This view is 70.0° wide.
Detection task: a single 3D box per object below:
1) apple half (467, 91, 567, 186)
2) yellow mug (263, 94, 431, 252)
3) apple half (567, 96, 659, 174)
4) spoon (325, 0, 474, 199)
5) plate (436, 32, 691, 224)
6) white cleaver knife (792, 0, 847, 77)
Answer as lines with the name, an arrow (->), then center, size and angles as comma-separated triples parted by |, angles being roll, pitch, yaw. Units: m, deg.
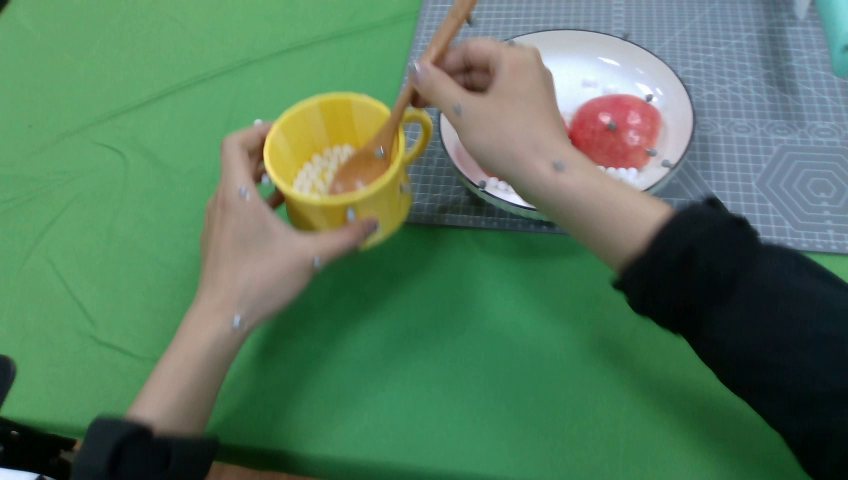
apple half -> 0.075, -0.093, 0.502 | 0.081, 0.054, 0.074 | -33, 56, -12
yellow mug -> -0.049, -0.057, 0.454 | 0.131, 0.064, 0.099 | -32, 64, -17
apple half -> 0.157, -0.096, 0.503 | 0.081, 0.033, 0.080 | -3, 60, 6
spoon -> -0.014, -0.096, 0.420 | 0.041, 0.022, 0.194 | 41, 114, 17
plate -> 0.114, -0.096, 0.518 | 0.209, 0.038, 0.207 | -4, 57, 6
white cleaver knife -> 0.357, -0.244, 0.561 | 0.021, 0.066, 0.284 | 2, 54, 16
